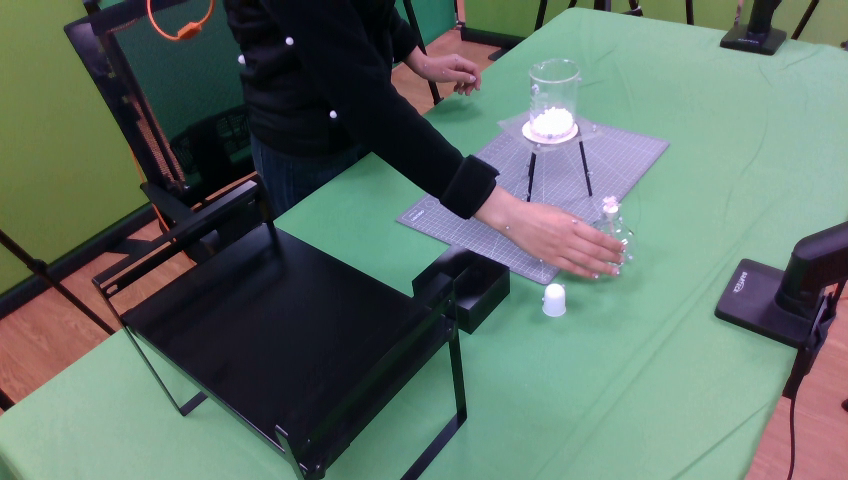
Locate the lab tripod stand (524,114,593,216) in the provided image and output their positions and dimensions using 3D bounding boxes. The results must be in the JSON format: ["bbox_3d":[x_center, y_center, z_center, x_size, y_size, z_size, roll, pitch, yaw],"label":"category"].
[{"bbox_3d":[0.210,-0.127,1.001,0.148,0.132,0.147,-4,43,4],"label":"lab tripod stand"}]

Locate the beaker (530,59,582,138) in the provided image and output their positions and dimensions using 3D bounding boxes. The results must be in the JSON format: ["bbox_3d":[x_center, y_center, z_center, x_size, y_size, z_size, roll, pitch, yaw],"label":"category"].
[{"bbox_3d":[0.198,-0.217,0.932,0.074,0.101,0.083,-22,43,-16],"label":"beaker"}]

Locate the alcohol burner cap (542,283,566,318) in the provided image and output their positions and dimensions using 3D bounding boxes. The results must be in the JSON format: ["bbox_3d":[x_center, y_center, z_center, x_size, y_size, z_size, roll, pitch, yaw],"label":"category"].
[{"bbox_3d":[0.181,0.081,0.839,0.034,0.048,0.033,-4,40,4],"label":"alcohol burner cap"}]

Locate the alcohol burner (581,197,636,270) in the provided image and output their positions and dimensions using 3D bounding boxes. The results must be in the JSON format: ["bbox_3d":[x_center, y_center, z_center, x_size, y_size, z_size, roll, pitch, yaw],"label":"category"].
[{"bbox_3d":[0.270,-0.015,0.882,0.078,0.119,0.077,-5,42,5],"label":"alcohol burner"}]

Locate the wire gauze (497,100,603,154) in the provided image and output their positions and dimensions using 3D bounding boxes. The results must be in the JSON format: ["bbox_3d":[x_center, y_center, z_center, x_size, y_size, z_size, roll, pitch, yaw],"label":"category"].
[{"bbox_3d":[0.199,-0.180,0.963,0.125,0.011,0.120,-21,42,-12],"label":"wire gauze"}]
